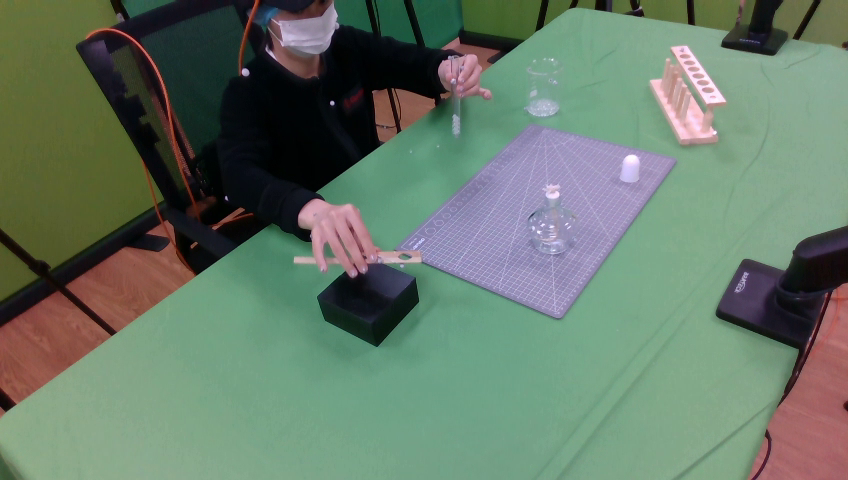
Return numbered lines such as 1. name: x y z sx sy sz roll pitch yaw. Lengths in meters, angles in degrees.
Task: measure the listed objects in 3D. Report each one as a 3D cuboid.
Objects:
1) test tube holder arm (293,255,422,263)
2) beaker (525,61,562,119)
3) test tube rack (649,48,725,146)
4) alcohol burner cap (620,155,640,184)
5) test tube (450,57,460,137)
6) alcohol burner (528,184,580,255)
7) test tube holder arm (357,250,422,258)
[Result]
1. test tube holder arm: -0.092 0.026 0.829 0.178 0.015 0.013 -2 83 7
2. beaker: 0.248 -0.308 1.245 0.073 0.101 0.084 29 52 36
3. test tube rack: 0.508 -0.285 1.186 0.067 0.085 0.241 -4 40 6
4. alcohol burner cap: 0.358 -0.124 1.047 0.034 0.048 0.033 -4 40 4
5. test tube: 0.054 -0.244 1.045 0.017 0.151 0.017 -2 43 2
6. alcohol burner: 0.196 -0.036 0.911 0.078 0.119 0.077 -6 41 5
7. test tube holder arm: -0.047 0.019 0.824 0.088 0.015 0.010 -1 83 7
